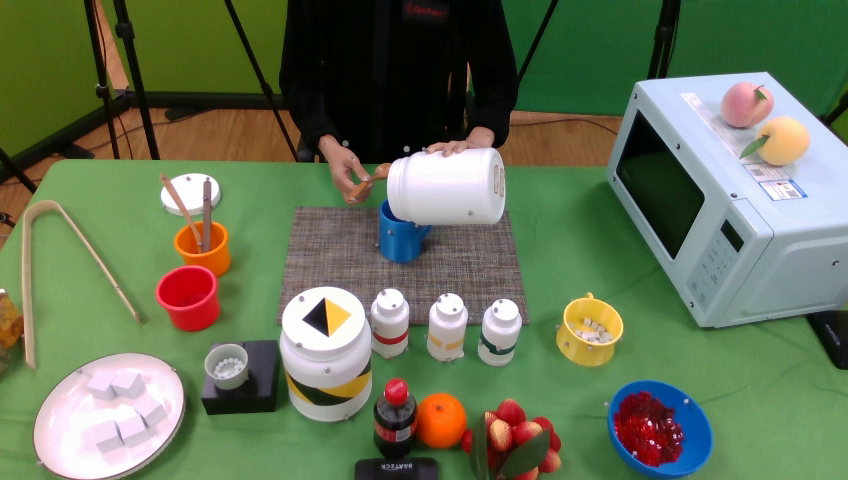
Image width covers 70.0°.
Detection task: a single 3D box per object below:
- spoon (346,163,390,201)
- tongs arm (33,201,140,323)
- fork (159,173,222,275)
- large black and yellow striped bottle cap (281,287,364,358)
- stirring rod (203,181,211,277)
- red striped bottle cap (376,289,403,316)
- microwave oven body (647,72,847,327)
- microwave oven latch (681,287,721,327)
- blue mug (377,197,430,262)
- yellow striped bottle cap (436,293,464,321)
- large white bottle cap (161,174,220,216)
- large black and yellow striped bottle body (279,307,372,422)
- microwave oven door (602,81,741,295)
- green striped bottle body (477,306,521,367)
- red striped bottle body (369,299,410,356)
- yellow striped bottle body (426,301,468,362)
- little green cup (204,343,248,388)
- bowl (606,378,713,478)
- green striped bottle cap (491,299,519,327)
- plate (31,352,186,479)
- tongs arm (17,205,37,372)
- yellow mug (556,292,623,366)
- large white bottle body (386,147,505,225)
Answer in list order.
[{"bbox_3d":[-0.104,-0.112,1.143,0.041,0.022,0.193,16,26,14],"label":"spoon"},{"bbox_3d":[-0.623,0.035,1.105,0.051,0.026,0.382,-33,56,-25],"label":"tongs arm"},{"bbox_3d":[-0.427,-0.029,1.103,0.028,0.018,0.207,-31,99,-30],"label":"fork"},{"bbox_3d":[-0.141,0.112,0.847,0.115,0.019,0.114,5,45,-4],"label":"large black and yellow striped bottle cap"},{"bbox_3d":[-0.396,-0.021,1.107,0.014,0.006,0.176,-1,89,-2],"label":"stirring rod"},{"bbox_3d":[-0.054,0.098,0.958,0.044,0.018,0.044,0,48,1],"label":"red striped bottle cap"},{"bbox_3d":[0.607,-0.089,1.164,0.326,0.261,0.438,-7,46,-10],"label":"microwave oven body"},{"bbox_3d":[0.494,0.119,1.087,0.030,0.029,0.078,-6,46,-9],"label":"microwave oven latch"},{"bbox_3d":[-0.033,-0.029,1.159,0.116,0.106,0.082,-22,52,-23],"label":"blue mug"},{"bbox_3d":[0.041,0.106,0.959,0.044,0.019,0.044,0,50,1],"label":"yellow striped bottle cap"},{"bbox_3d":[-0.483,-0.095,1.253,0.115,0.018,0.114,2,46,-2],"label":"large white bottle cap"},{"bbox_3d":[-0.145,0.173,0.907,0.131,0.185,0.130,2,46,-2],"label":"large black and yellow striped bottle body"},{"bbox_3d":[0.456,-0.107,1.162,0.039,0.245,0.353,-6,47,-11],"label":"microwave oven door"},{"bbox_3d":[0.124,0.151,0.995,0.063,0.120,0.063,2,46,-2],"label":"green striped bottle body"},{"bbox_3d":[-0.058,0.135,0.997,0.063,0.120,0.062,5,49,-6],"label":"red striped bottle body"},{"bbox_3d":[0.037,0.142,0.996,0.063,0.121,0.062,2,46,-2],"label":"yellow striped bottle body"},{"bbox_3d":[-0.294,0.190,0.909,0.061,0.039,0.061,1,48,0],"label":"little green cup"},{"bbox_3d":[0.340,0.292,0.906,0.151,0.077,0.150,2,46,-2],"label":"bowl"},{"bbox_3d":[0.128,0.115,0.958,0.044,0.020,0.044,1,47,-1],"label":"green striped bottle cap"},{"bbox_3d":[-0.459,0.262,0.898,0.209,0.038,0.208,2,46,-2],"label":"plate"},{"bbox_3d":[-0.698,0.072,1.069,0.028,0.028,0.385,-21,51,-13],"label":"tongs arm"},{"bbox_3d":[0.285,0.145,1.051,0.100,0.064,0.130,8,45,3],"label":"yellow mug"},{"bbox_3d":[0.038,-0.091,1.052,0.184,0.131,0.130,0,43,20],"label":"large white bottle body"}]
